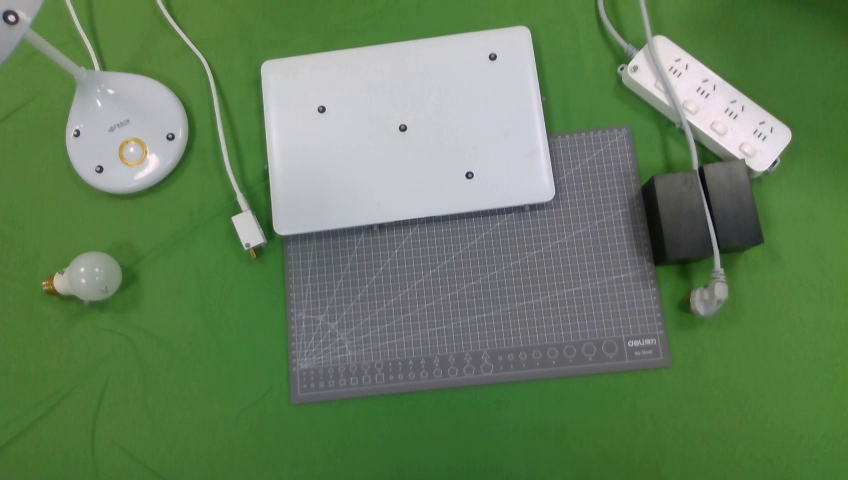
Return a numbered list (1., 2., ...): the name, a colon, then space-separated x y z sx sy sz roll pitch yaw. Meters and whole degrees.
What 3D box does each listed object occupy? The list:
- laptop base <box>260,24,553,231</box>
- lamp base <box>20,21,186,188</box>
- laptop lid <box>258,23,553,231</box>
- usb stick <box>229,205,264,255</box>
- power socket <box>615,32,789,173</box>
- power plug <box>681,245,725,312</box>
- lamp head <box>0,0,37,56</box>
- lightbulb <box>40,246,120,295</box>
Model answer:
1. laptop base: -0.028 -0.145 0.773 0.354 0.023 0.234 -7 82 1
2. lamp base: -0.400 -0.169 0.713 0.160 0.181 0.178 -37 77 -4
3. laptop lid: -0.029 -0.145 0.761 0.357 0.013 0.240 -6 80 2
4. usb stick: -0.218 -0.012 0.753 0.027 0.021 0.059 -21 88 -3
5. power socket: 0.344 -0.171 0.751 0.226 0.033 0.072 41 83 10
6. power plug: 0.326 0.048 0.705 0.035 0.052 0.072 23 72 -18
7. lamp head: -0.364 -0.200 0.441 0.112 0.124 0.111 -20 54 31
8. lightbulb: -0.425 0.041 0.742 0.107 0.060 0.059 -11 78 16
